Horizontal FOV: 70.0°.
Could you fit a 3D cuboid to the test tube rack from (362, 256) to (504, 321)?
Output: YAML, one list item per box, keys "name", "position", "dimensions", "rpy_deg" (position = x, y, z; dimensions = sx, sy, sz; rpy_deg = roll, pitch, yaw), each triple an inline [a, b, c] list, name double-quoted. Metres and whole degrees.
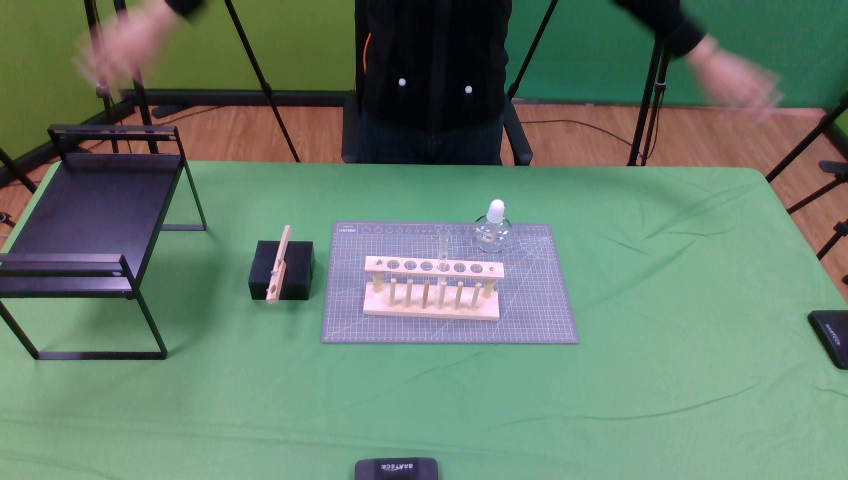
- name: "test tube rack"
  position: [0.015, 0.085, 1.069]
  dimensions: [0.242, 0.085, 0.066]
  rpy_deg: [3, 45, -2]

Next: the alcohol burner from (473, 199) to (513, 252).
- name: "alcohol burner"
  position: [0.135, -0.034, 1.174]
  dimensions: [0.078, 0.120, 0.077]
  rpy_deg: [1, 47, -1]

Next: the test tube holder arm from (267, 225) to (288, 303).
- name: "test tube holder arm"
  position: [-0.260, 0.039, 1.077]
  dimensions: [0.013, 0.015, 0.177]
  rpy_deg: [-5, 46, 2]

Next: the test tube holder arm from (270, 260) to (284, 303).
- name: "test tube holder arm"
  position: [-0.252, 0.071, 1.045]
  dimensions: [0.010, 0.015, 0.087]
  rpy_deg: [-5, 46, 2]

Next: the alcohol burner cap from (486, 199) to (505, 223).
- name: "alcohol burner cap"
  position: [0.137, -0.058, 1.148]
  dimensions: [0.034, 0.048, 0.033]
  rpy_deg: [3, 52, -4]

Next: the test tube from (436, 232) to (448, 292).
- name: "test tube"
  position: [0.030, 0.042, 1.042]
  dimensions: [0.017, 0.151, 0.017]
  rpy_deg: [1, 48, -1]
